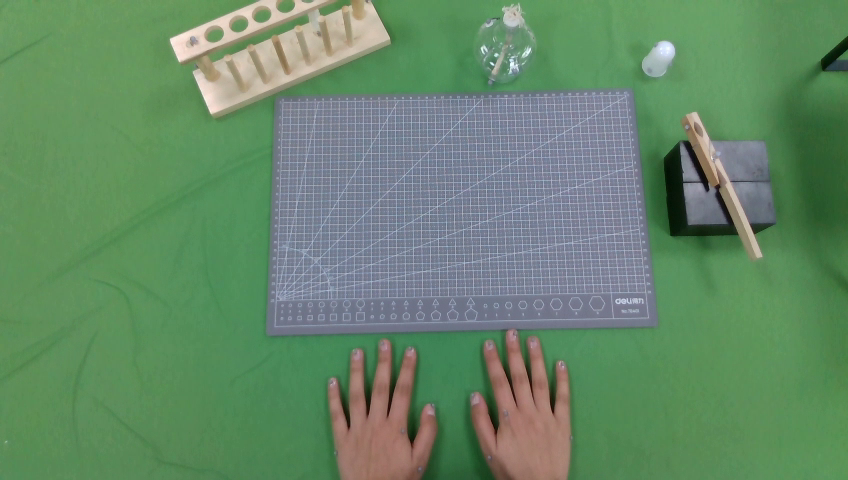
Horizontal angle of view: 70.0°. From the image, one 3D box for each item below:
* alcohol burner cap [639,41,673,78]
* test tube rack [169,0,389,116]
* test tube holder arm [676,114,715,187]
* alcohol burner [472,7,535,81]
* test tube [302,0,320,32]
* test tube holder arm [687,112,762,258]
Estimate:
[{"bbox_3d":[0.291,-0.228,0.756,0.034,0.048,0.033,0,76,1],"label":"alcohol burner cap"},{"bbox_3d":[-0.168,-0.243,0.735,0.242,0.085,0.066,-25,78,-6],"label":"test tube rack"},{"bbox_3d":[0.312,-0.102,0.689,0.010,0.015,0.087,-20,79,-6],"label":"test tube holder arm"},{"bbox_3d":[0.097,-0.241,0.722,0.078,0.119,0.077,0,78,0],"label":"alcohol burner"},{"bbox_3d":[-0.136,-0.292,0.696,0.017,0.151,0.017,0,71,1],"label":"test tube"},{"bbox_3d":[0.334,-0.063,0.681,0.013,0.015,0.177,-22,79,-7],"label":"test tube holder arm"}]
